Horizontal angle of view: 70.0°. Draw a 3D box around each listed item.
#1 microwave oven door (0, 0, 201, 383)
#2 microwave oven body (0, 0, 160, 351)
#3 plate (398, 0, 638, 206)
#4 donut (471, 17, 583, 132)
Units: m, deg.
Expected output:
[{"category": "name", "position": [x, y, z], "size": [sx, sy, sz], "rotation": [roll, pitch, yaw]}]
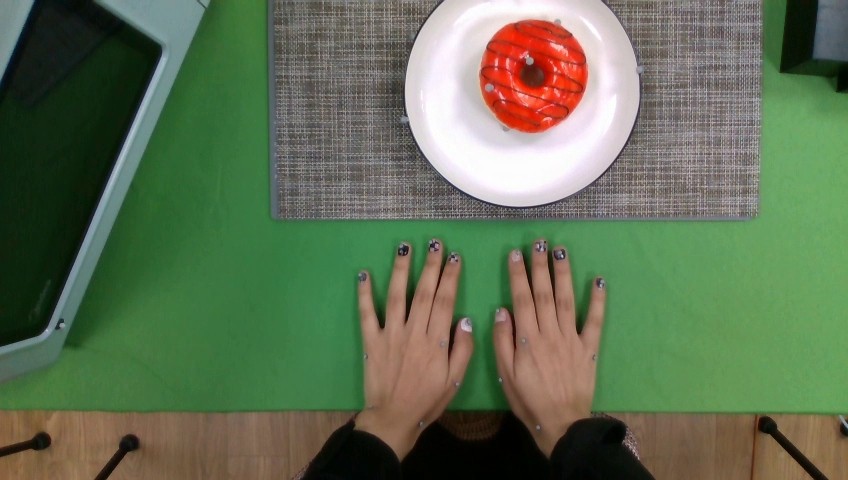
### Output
[{"category": "microwave oven door", "position": [-0.286, -0.049, 0.433], "size": [0.039, 0.243, 0.356], "rotation": [24, 93, 0]}, {"category": "microwave oven body", "position": [-0.403, -0.148, 0.432], "size": [0.326, 0.260, 0.441], "rotation": [24, 93, -2]}, {"category": "plate", "position": [0.082, -0.134, 0.544], "size": [0.209, 0.038, 0.209], "rotation": [0, 93, 0]}, {"category": "donut", "position": [0.090, -0.145, 0.532], "size": [0.099, 0.048, 0.099], "rotation": [0, 94, -3]}]
